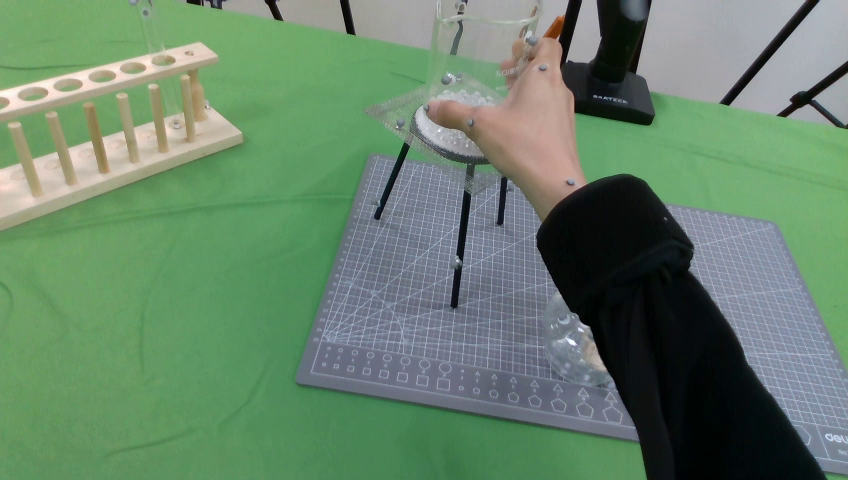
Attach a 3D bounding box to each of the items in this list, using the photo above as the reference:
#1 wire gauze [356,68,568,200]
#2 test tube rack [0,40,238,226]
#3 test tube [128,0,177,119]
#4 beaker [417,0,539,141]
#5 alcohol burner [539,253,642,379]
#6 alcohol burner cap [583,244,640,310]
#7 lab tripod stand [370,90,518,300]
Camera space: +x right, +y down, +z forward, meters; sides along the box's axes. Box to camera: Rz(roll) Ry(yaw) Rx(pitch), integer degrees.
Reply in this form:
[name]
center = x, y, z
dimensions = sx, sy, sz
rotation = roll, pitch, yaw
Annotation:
[wire gauze]
center = 0.030, -0.093, 0.470
dimensions = 0.121, 0.011, 0.124
rotation = -32, 60, -33
[test tube rack]
center = -0.298, -0.104, 0.554
dimensions = 0.242, 0.086, 0.066
rotation = -31, 57, -35
[test tube]
center = -0.256, -0.179, 0.568
dimensions = 0.017, 0.151, 0.017
rotation = 3, 45, -2
[beaker]
center = 0.032, -0.129, 0.437
dimensions = 0.084, 0.101, 0.073
rotation = -29, 56, -32
[alcohol burner]
center = 0.129, 0.049, 0.451
dimensions = 0.078, 0.120, 0.077
rotation = 7, 43, -6
[alcohol burner cap]
center = 0.134, 0.024, 0.425
dimensions = 0.034, 0.048, 0.033
rotation = 2, 49, -2
[lab tripod stand]
center = 0.024, -0.045, 0.515
dimensions = 0.149, 0.132, 0.147
rotation = 7, 44, -6
